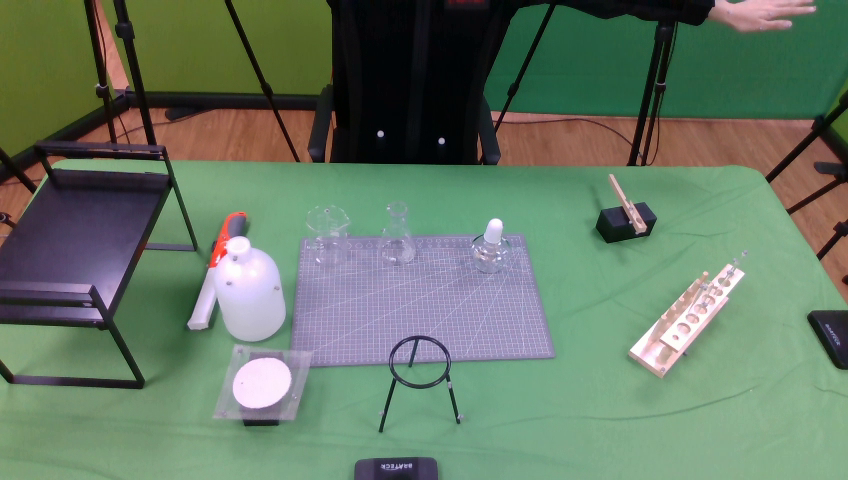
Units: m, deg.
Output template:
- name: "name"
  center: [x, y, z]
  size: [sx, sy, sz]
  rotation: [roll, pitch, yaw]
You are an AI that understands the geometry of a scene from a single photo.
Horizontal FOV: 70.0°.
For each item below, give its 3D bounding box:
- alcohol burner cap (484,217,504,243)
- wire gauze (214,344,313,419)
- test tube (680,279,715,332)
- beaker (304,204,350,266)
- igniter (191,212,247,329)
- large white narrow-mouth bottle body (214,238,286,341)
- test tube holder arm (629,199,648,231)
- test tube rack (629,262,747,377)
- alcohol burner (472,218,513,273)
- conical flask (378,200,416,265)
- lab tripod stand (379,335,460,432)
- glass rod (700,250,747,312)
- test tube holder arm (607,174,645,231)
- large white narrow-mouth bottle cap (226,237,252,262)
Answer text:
- name: "alcohol burner cap"
  center: [0.130, -0.021, 1.107]
  size: [0.034, 0.048, 0.033]
  rotation: [6, 46, -6]
- name: "wire gauze"
  center: [-0.241, 0.213, 0.915]
  size: [0.121, 0.011, 0.124]
  rotation: [5, 46, 1]
- name: "test tube"
  center: [0.445, 0.119, 0.997]
  size: [0.017, 0.151, 0.017]
  rotation: [1, 43, -1]
- name: "beaker"
  center: [-0.178, -0.006, 1.132]
  size: [0.084, 0.101, 0.073]
  rotation: [4, 46, -1]
- name: "igniter"
  center: [-0.376, 0.047, 1.121]
  size: [0.057, 0.025, 0.275]
  rotation: [-4, 46, 6]
- name: "large white narrow-mouth bottle body"
  center: [-0.285, 0.073, 0.986]
  size: [0.102, 0.195, 0.101]
  rotation: [2, 46, -2]
- name: "test tube holder arm"
  center: [0.423, -0.050, 1.206]
  size: [0.010, 0.015, 0.087]
  rotation: [1, 41, -12]
- name: "test tube rack"
  center: [0.464, 0.126, 1.060]
  size: [0.242, 0.085, 0.066]
  rotation: [-34, 56, -30]
- name: "alcohol burner"
  center: [0.128, 0.005, 1.132]
  size: [0.078, 0.120, 0.077]
  rotation: [0, 47, 0]
- name: "conical flask"
  center: [-0.050, -0.018, 1.136]
  size: [0.075, 0.122, 0.075]
  rotation: [2, 46, -2]
- name: "lab tripod stand"
  center: [-0.011, 0.214, 0.911]
  size: [0.148, 0.132, 0.147]
  rotation: [1, 45, 0]
- name: "glass rod"
  center: [0.501, 0.075, 1.021]
  size: [0.008, 0.201, 0.008]
  rotation: [-1, 54, 1]
- name: "test tube holder arm"
  center: [0.411, -0.080, 1.238]
  size: [0.013, 0.015, 0.177]
  rotation: [1, 41, -13]
- name: "large white narrow-mouth bottle cap"
  center: [-0.282, 0.014, 0.923]
  size: [0.038, 0.024, 0.037]
  rotation: [2, 46, -2]
